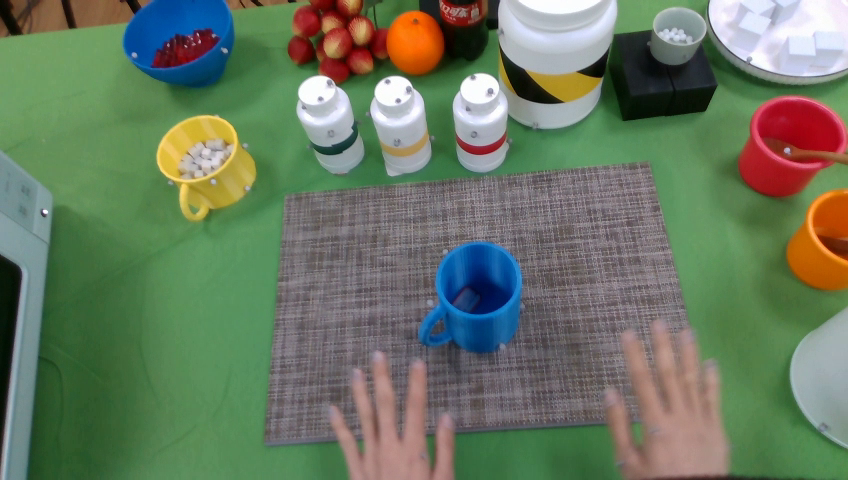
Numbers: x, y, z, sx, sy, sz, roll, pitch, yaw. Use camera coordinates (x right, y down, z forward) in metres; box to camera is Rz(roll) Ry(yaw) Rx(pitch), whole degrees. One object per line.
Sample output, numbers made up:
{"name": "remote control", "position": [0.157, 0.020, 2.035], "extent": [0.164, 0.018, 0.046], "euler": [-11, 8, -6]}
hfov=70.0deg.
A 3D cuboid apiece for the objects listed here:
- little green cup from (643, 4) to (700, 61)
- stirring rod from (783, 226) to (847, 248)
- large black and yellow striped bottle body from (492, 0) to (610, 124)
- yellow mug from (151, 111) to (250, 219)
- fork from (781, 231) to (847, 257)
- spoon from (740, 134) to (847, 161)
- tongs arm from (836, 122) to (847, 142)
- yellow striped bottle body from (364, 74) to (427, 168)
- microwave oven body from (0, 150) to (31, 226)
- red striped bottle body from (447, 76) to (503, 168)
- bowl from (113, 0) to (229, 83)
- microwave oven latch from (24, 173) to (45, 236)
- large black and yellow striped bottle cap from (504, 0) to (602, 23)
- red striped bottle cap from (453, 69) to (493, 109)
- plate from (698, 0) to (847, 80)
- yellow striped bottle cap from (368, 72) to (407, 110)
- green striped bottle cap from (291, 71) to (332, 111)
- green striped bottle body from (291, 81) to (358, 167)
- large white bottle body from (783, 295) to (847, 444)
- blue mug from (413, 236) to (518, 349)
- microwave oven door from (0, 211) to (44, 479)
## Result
{"name": "little green cup", "position": [0.295, -0.248, 0.728], "extent": [0.061, 0.039, 0.061], "euler": [-1, 61, 3]}
{"name": "stirring rod", "position": [0.431, 0.007, 0.588], "extent": [0.014, 0.006, 0.174], "euler": [-29, 22, -14]}
{"name": "large black and yellow striped bottle body", "position": [0.145, -0.241, 0.716], "extent": [0.130, 0.185, 0.129], "euler": [-2, 63, 5]}
{"name": "yellow mug", "position": [-0.279, -0.087, 0.750], "extent": [0.100, 0.064, 0.130], "euler": [4, 65, 8]}
{"name": "fork", "position": [0.460, -0.009, 0.587], "extent": [0.206, 0.019, 0.028], "euler": [-16, 48, 49]}
{"name": "spoon", "position": [0.410, -0.092, 0.637], "extent": [0.041, 0.192, 0.022], "euler": [-22, 108, -8]}
{"name": "tongs arm", "position": [0.625, -0.018, 0.637], "extent": [0.051, 0.027, 0.381], "euler": [-38, 66, -16]}
{"name": "yellow striped bottle body", "position": [-0.034, -0.144, 0.721], "extent": [0.063, 0.121, 0.062], "euler": [-3, 62, 6]}
{"name": "microwave oven body", "position": [-0.605, 0.102, 0.576], "extent": [0.326, 0.262, 0.437], "euler": [-13, 64, -1]}
{"name": "red striped bottle body", "position": [0.061, -0.142, 0.711], "extent": [0.063, 0.121, 0.062], "euler": [-3, 62, 7]}
{"name": "bowl", "position": [-0.335, -0.272, 0.841], "extent": [0.151, 0.077, 0.150], "euler": [-2, 63, 5]}
{"name": "microwave oven latch", "position": [-0.488, -0.041, 0.743], "extent": [0.030, 0.030, 0.078], "euler": [-12, 64, 0]}
{"name": "large black and yellow striped bottle cap", "position": [0.137, -0.279, 0.638], "extent": [0.115, 0.019, 0.114], "euler": [-3, 65, 8]}
{"name": "red striped bottle cap", "position": [0.054, -0.166, 0.665], "extent": [0.044, 0.018, 0.044], "euler": [0, 62, 1]}
{"name": "plate", "position": [0.461, -0.286, 0.787], "extent": [0.209, 0.038, 0.207], "euler": [-2, 64, 5]}
{"name": "yellow striped bottle cap", "position": [-0.041, -0.166, 0.675], "extent": [0.044, 0.019, 0.044], "euler": [0, 60, 1]}
{"name": "green striped bottle cap", "position": [-0.127, -0.169, 0.686], "extent": [0.044, 0.020, 0.044], "euler": [-1, 63, 3]}
{"name": "green striped bottle body", "position": [-0.121, -0.145, 0.732], "extent": [0.063, 0.120, 0.062], "euler": [-2, 63, 5]}
{"name": "large white bottle body", "position": [0.412, 0.099, 0.517], "extent": [0.130, 0.186, 0.129], "euler": [-2, 63, 5]}
{"name": "blue mug", "position": [0.039, 0.065, 0.615], "extent": [0.116, 0.107, 0.081], "euler": [-34, 64, -10]}
{"name": "microwave oven door", "position": [-0.454, 0.103, 0.554], "extent": [0.039, 0.246, 0.352], "euler": [-14, 63, 0]}
